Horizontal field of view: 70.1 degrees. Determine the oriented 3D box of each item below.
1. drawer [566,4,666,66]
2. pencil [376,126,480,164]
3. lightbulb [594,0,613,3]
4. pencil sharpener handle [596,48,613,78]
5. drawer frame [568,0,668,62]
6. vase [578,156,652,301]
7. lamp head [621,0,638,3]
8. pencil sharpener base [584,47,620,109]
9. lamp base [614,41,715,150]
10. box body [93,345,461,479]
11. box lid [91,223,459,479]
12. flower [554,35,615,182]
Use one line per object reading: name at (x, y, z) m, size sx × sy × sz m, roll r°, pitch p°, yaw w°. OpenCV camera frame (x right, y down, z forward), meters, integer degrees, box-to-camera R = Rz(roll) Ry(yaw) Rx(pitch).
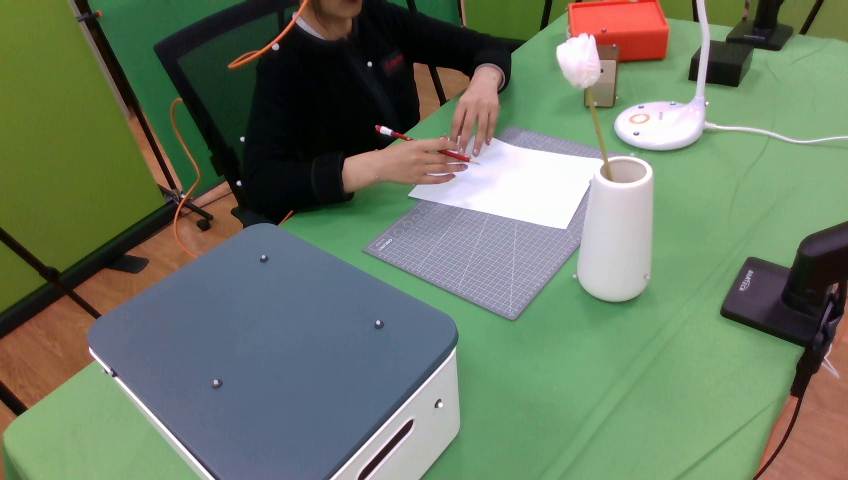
drawer at (0.447, -0.493, 1.441) m, size 0.211 × 0.073 × 0.194 m, roll 0°, pitch 40°, yaw 10°
pencil at (0.006, -0.161, 1.032) m, size 0.193 × 0.012 × 0.012 m, roll 21°, pitch 47°, yaw 12°
lightbulb at (0.305, -0.437, 0.977) m, size 0.060 × 0.107 × 0.059 m, roll 12°, pitch 44°, yaw -11°
pencil sharpener handle at (0.382, -0.378, 1.276) m, size 0.036 × 0.068 × 0.030 m, roll 3°, pitch 41°, yaw 21°
drawer frame at (0.450, -0.496, 1.441) m, size 0.213 × 0.083 × 0.201 m, roll -1°, pitch 40°, yaw 9°
vase at (0.261, -0.011, 0.812) m, size 0.098 × 0.201 × 0.097 m, roll -4°, pitch 40°, yaw 4°
lamp head at (0.319, -0.453, 0.962) m, size 0.113 × 0.123 × 0.112 m, roll 20°, pitch 33°, yaw -13°
pencil sharpener base at (0.367, -0.336, 1.248) m, size 0.061 × 0.107 × 0.076 m, roll 6°, pitch 42°, yaw 19°
lamp base at (0.449, -0.277, 1.106) m, size 0.179 × 0.181 × 0.160 m, roll 1°, pitch 41°, yaw 9°
box body at (-0.162, 0.170, 0.708) m, size 0.361 × 0.161 × 0.255 m, roll 25°, pitch 50°, yaw 34°
box lid at (-0.174, 0.103, 0.667) m, size 0.368 × 0.015 × 0.264 m, roll 24°, pitch 48°, yaw 35°
flower at (0.237, -0.083, 0.774) m, size 0.044 × 0.363 × 0.038 m, roll -23°, pitch 26°, yaw 6°
